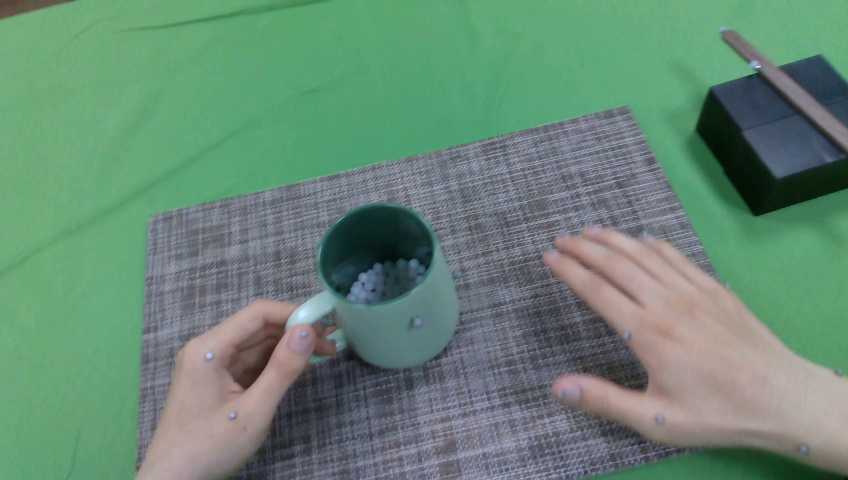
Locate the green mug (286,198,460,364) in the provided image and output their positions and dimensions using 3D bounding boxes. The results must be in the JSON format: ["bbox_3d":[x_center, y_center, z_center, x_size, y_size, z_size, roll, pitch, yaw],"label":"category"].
[{"bbox_3d":[-0.037,0.040,0.424,0.125,0.106,0.091,-33,61,-12],"label":"green mug"}]

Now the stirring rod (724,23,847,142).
[{"bbox_3d":[0.296,-0.118,0.473,0.014,0.006,0.174,-24,59,-6],"label":"stirring rod"}]
